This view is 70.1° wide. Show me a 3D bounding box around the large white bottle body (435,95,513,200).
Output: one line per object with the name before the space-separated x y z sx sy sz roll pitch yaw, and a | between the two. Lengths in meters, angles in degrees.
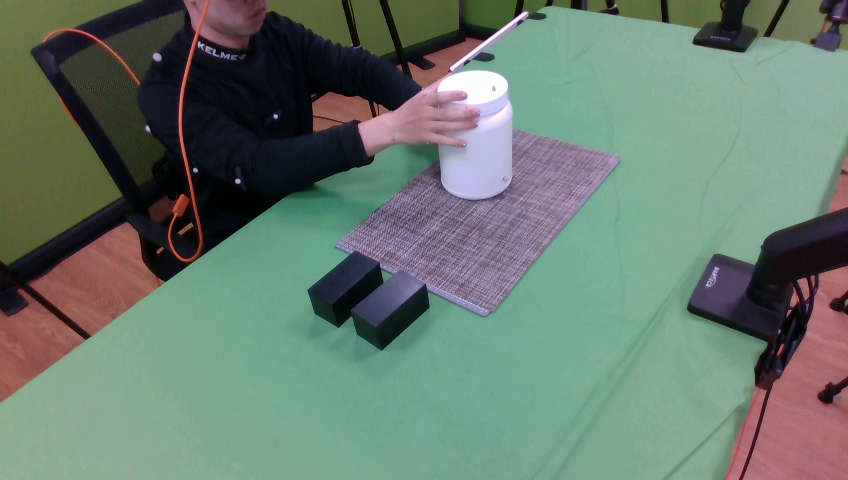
large white bottle body | 0.087 -0.177 1.031 0.130 0.185 0.130 -4 40 4

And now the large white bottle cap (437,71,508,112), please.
large white bottle cap | 0.077 -0.241 0.975 0.115 0.018 0.114 -4 40 4
